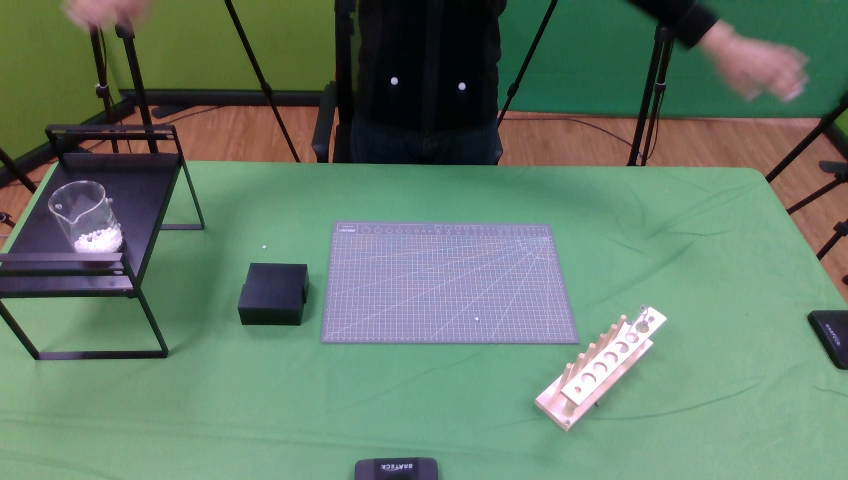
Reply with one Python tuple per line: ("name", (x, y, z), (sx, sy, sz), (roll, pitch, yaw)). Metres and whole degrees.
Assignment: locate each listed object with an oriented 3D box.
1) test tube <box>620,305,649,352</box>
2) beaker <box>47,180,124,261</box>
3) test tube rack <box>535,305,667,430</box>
("test tube", (0.330, 0.150, 0.960), (0.017, 0.151, 0.017), (-1, 50, 1))
("beaker", (-0.486, -0.024, 0.879), (0.074, 0.101, 0.083), (-7, 48, -9))
("test tube rack", (0.290, 0.193, 0.984), (0.242, 0.085, 0.066), (-32, 57, -30))
